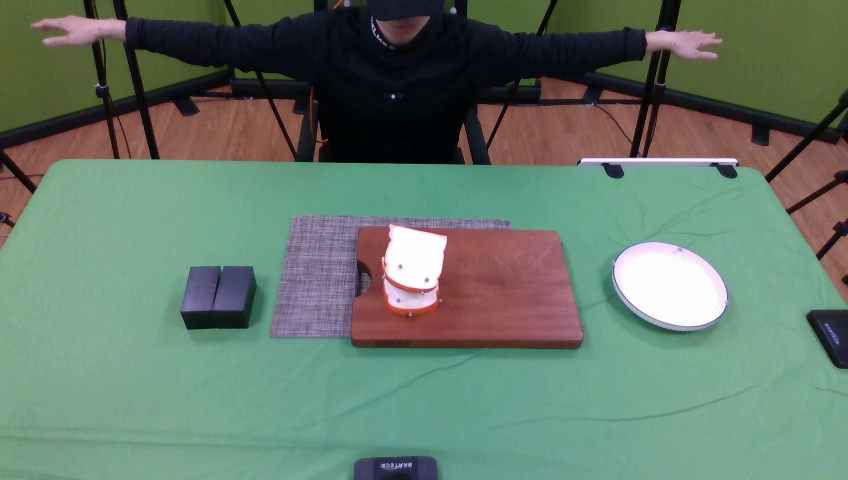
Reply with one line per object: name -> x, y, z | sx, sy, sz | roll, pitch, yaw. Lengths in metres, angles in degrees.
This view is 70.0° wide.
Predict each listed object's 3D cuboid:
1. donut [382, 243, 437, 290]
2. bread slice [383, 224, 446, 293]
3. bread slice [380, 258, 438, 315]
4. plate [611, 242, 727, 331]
donut -> -0.026, 0.046, 1.077 | 0.099, 0.048, 0.098 | 4, 45, -3
bread slice -> -0.017, 0.034, 1.050 | 0.107, 0.018, 0.133 | 11, 48, -7
bread slice -> -0.024, 0.079, 1.087 | 0.105, 0.019, 0.130 | -2, 45, -5
plate -> 0.455, 0.090, 1.138 | 0.209, 0.038, 0.208 | 3, 45, -2
